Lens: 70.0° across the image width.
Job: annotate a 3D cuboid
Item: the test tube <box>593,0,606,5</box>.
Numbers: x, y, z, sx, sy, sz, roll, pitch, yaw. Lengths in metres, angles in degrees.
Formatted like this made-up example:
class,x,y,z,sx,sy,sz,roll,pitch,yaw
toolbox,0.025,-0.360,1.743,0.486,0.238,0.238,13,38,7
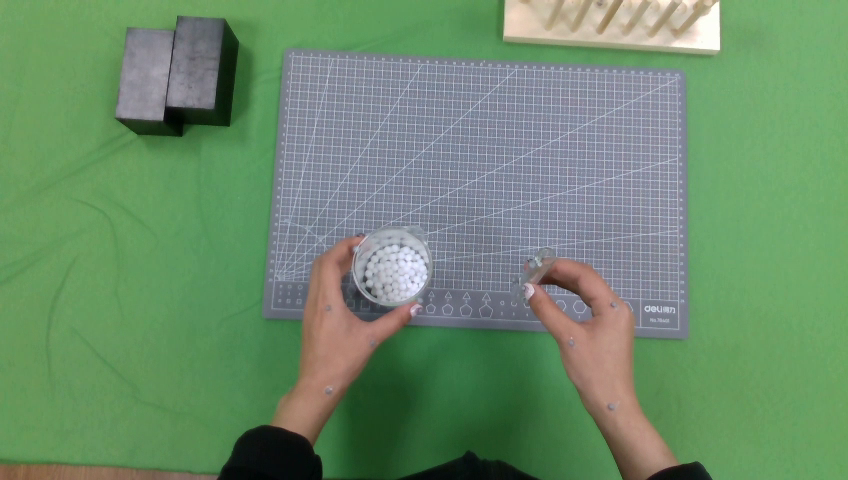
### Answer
class,x,y,z,sx,sy,sz,roll,pitch,yaw
test tube,0.200,-0.283,0.607,0.017,0.150,0.017,1,78,-3

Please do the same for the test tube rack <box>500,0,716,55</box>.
class,x,y,z,sx,sy,sz,roll,pitch,yaw
test tube rack,0.209,-0.257,0.653,0.242,0.085,0.066,3,81,0

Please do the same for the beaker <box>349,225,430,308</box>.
class,x,y,z,sx,sy,sz,roll,pitch,yaw
beaker,-0.029,0.028,0.598,0.074,0.100,0.084,34,82,4

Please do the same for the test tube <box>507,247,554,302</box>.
class,x,y,z,sx,sy,sz,roll,pitch,yaw
test tube,0.092,0.034,0.540,0.017,0.151,0.017,0,73,-1
